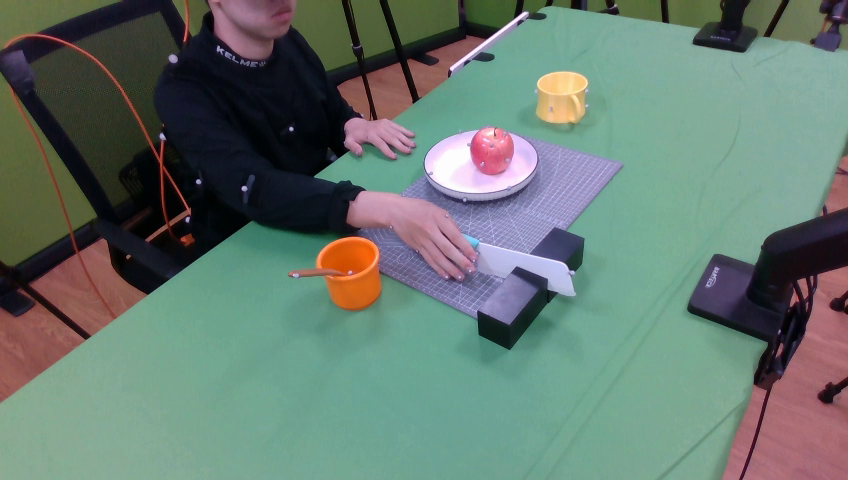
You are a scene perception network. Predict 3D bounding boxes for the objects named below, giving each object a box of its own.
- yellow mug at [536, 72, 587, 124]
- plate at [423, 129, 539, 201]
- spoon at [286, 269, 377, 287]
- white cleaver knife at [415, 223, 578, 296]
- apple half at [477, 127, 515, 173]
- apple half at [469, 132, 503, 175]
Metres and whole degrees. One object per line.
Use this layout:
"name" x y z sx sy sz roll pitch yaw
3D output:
"yellow mug" 0.284 -0.281 1.222 0.100 0.064 0.130 -16 42 -10
"plate" 0.103 -0.132 1.092 0.209 0.038 0.208 -4 40 4
"spoon" -0.125 0.050 0.832 0.041 0.195 0.021 22 92 28
"white cleaver knife" 0.093 0.028 0.881 0.284 0.066 0.021 18 45 40
"apple half" 0.132 -0.164 1.085 0.053 0.075 0.080 -28 41 -28
"apple half" 0.102 -0.146 1.067 0.033 0.081 0.080 -28 44 -29
